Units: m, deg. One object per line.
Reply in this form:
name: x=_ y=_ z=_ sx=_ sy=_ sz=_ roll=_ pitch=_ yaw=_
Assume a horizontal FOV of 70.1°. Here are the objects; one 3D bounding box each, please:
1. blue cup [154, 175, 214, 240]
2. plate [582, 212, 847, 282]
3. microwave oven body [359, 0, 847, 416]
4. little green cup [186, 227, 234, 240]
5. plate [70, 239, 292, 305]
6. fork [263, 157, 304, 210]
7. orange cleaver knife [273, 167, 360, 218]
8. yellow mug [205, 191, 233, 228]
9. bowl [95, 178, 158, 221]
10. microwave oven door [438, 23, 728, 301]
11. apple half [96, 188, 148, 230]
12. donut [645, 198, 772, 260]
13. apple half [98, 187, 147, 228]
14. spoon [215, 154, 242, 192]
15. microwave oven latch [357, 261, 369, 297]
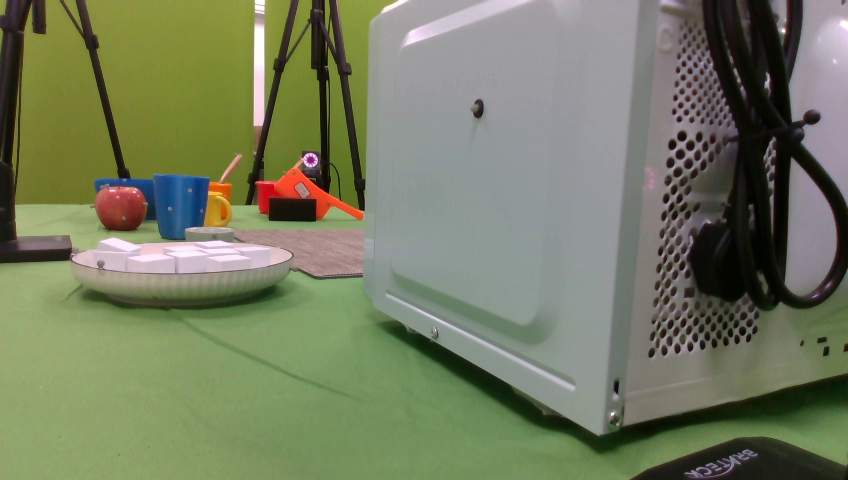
blue cup: x=-0.390 y=-0.053 z=0.978 sx=0.093 sy=0.100 sz=0.092 roll=3 pitch=6 yaw=0
plate: x=0.239 y=0.003 z=0.510 sx=0.209 sy=0.038 sz=0.209 roll=2 pitch=7 yaw=0
microwave oven body: x=0.211 y=-0.047 z=0.474 sx=0.444 sy=0.260 sz=0.324 roll=-1 pitch=7 yaw=-28
little green cup: x=-0.284 y=0.005 z=0.805 sx=0.061 sy=0.038 sz=0.061 roll=2 pitch=8 yaw=0
plate: x=-0.242 y=0.031 z=0.618 sx=0.208 sy=0.039 sz=0.207 roll=2 pitch=8 yaw=0
fork: x=-0.345 y=-0.143 z=1.505 sx=0.028 sy=0.019 sz=0.207 roll=-4 pitch=46 yaw=28
orange cleaver knife: x=-0.238 y=-0.091 z=1.381 sx=0.212 sy=0.077 sz=0.012 roll=31 pitch=0 yaw=-19
yellow mug: x=-0.415 y=-0.057 z=1.131 sx=0.130 sy=0.064 sz=0.100 roll=6 pitch=8 yaw=16
bowl: x=-0.576 y=-0.081 z=1.217 sx=0.151 sy=0.077 sz=0.151 roll=3 pitch=8 yaw=0
microwave oven door: x=0.181 y=-0.072 z=0.620 sx=0.358 sy=0.243 sz=0.039 roll=-2 pitch=8 yaw=-29
apple half: x=-0.517 y=-0.052 z=1.036 sx=0.081 sy=0.074 sz=0.053 roll=3 pitch=10 yaw=-26
donut: x=0.239 y=-0.008 z=0.513 sx=0.099 sy=0.048 sz=0.099 roll=10 pitch=1 yaw=0
apple half: x=-0.534 y=-0.059 z=1.071 sx=0.082 sy=0.081 sz=0.032 roll=-1 pitch=11 yaw=-25
spoon: x=-0.439 y=-0.124 z=1.318 sx=0.041 sy=0.193 sz=0.022 roll=6 pitch=-36 yaw=15
microwave oven latch: x=-0.019 y=0.033 z=0.531 sx=0.079 sy=0.029 sz=0.030 roll=-1 pitch=7 yaw=-27
